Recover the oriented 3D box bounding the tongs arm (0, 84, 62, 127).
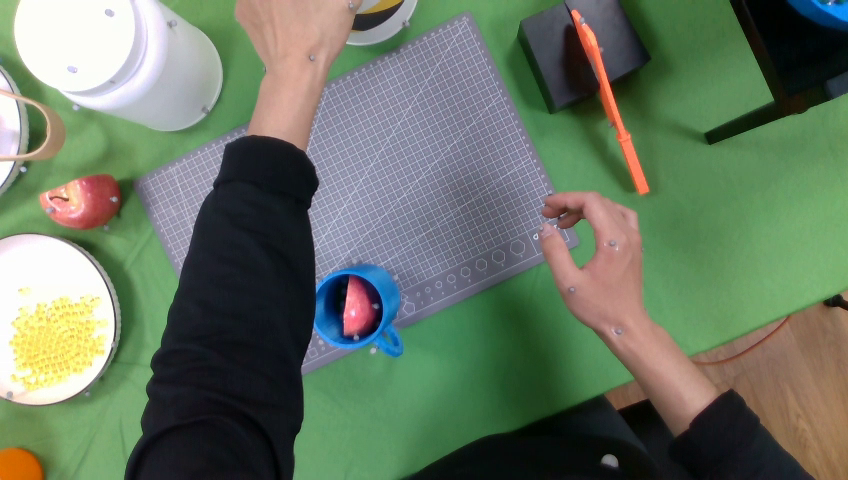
[{"bbox_3d":[-0.594,-0.199,0.697,0.387,0.028,0.028,18,87,5],"label":"tongs arm"}]

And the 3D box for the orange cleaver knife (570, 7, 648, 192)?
[{"bbox_3d":[0.200,-0.149,0.656,0.012,0.076,0.213,-24,117,13],"label":"orange cleaver knife"}]

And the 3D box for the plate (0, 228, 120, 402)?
[{"bbox_3d":[-0.464,0.088,0.731,0.209,0.038,0.209,0,93,4],"label":"plate"}]

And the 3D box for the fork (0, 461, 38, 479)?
[{"bbox_3d":[-0.563,0.296,0.691,0.208,0.018,0.028,-9,91,-39],"label":"fork"}]

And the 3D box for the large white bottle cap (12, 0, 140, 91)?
[{"bbox_3d":[-0.317,-0.195,0.551,0.115,0.018,0.115,0,92,5],"label":"large white bottle cap"}]

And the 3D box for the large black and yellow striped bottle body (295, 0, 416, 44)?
[{"bbox_3d":[-0.080,-0.282,0.596,0.130,0.184,0.131,0,93,6],"label":"large black and yellow striped bottle body"}]

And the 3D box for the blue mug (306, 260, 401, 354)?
[{"bbox_3d":[-0.065,0.078,0.669,0.082,0.106,0.116,-41,89,5],"label":"blue mug"}]

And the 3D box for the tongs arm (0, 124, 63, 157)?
[{"bbox_3d":[-0.607,-0.116,0.700,0.384,0.026,0.050,4,89,6],"label":"tongs arm"}]

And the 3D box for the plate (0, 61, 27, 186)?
[{"bbox_3d":[-0.573,-0.141,0.728,0.207,0.039,0.207,0,93,4],"label":"plate"}]

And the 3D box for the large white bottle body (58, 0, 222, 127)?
[{"bbox_3d":[-0.309,-0.197,0.636,0.130,0.184,0.130,0,91,5],"label":"large white bottle body"}]

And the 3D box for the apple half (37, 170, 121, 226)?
[{"bbox_3d":[-0.393,-0.044,0.704,0.081,0.074,0.053,-21,94,1],"label":"apple half"}]

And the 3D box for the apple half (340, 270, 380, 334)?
[{"bbox_3d":[-0.065,0.068,0.663,0.032,0.081,0.081,6,93,11],"label":"apple half"}]

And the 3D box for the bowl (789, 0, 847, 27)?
[{"bbox_3d":[0.330,-0.231,0.466,0.151,0.077,0.151,0,92,4],"label":"bowl"}]

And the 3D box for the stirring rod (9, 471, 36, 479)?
[{"bbox_3d":[-0.547,0.310,0.693,0.177,0.006,0.014,-17,79,-36],"label":"stirring rod"}]
